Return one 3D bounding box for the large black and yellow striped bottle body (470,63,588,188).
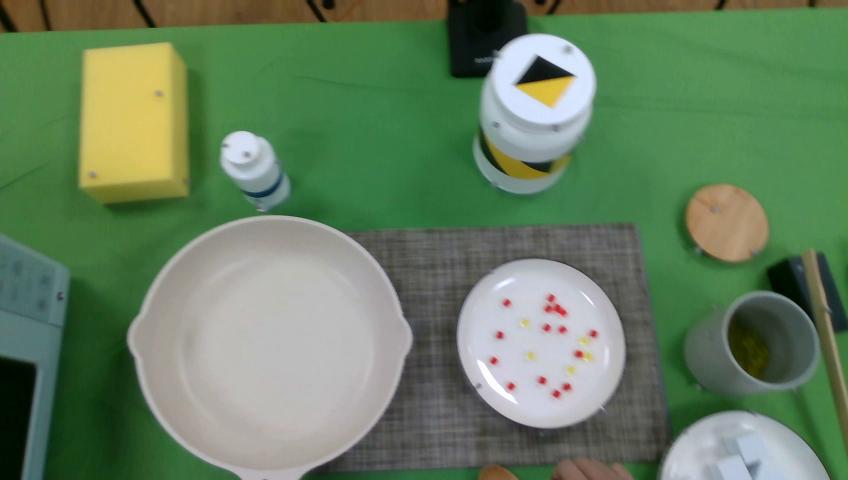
[{"bbox_3d":[0.129,-0.158,0.763,0.131,0.185,0.130,0,73,-1],"label":"large black and yellow striped bottle body"}]

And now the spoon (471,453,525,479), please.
[{"bbox_3d":[0.146,0.301,0.709,0.193,0.022,0.041,21,62,5],"label":"spoon"}]

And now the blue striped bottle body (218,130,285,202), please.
[{"bbox_3d":[-0.220,-0.097,0.772,0.063,0.121,0.062,0,73,0],"label":"blue striped bottle body"}]

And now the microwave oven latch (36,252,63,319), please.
[{"bbox_3d":[-0.468,0.056,0.746,0.030,0.029,0.078,1,74,-1],"label":"microwave oven latch"}]

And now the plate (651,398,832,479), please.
[{"bbox_3d":[0.366,0.291,0.708,0.208,0.039,0.206,0,73,0],"label":"plate"}]

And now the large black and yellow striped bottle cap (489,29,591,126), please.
[{"bbox_3d":[0.131,-0.184,0.683,0.115,0.019,0.114,0,75,0],"label":"large black and yellow striped bottle cap"}]

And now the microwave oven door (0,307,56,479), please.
[{"bbox_3d":[-0.463,0.236,0.586,0.039,0.245,0.353,-2,73,-1],"label":"microwave oven door"}]

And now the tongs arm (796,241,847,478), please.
[{"bbox_3d":[0.502,0.187,0.712,0.051,0.026,0.383,-7,84,-5],"label":"tongs arm"}]

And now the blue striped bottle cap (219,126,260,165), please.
[{"bbox_3d":[-0.221,-0.114,0.723,0.044,0.021,0.044,0,75,-1],"label":"blue striped bottle cap"}]

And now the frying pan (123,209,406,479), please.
[{"bbox_3d":[-0.171,0.203,0.661,0.308,0.103,0.483,3,63,-12],"label":"frying pan"}]

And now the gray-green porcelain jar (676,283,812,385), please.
[{"bbox_3d":[0.367,0.116,0.714,0.106,0.127,0.105,0,73,0],"label":"gray-green porcelain jar"}]

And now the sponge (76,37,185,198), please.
[{"bbox_3d":[-0.395,-0.166,0.820,0.118,0.061,0.205,-7,74,-3],"label":"sponge"}]

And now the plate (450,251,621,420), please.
[{"bbox_3d":[0.136,0.116,0.753,0.209,0.038,0.208,0,73,0],"label":"plate"}]

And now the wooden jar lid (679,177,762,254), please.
[{"bbox_3d":[0.396,-0.032,0.815,0.108,0.021,0.108,0,75,0],"label":"wooden jar lid"}]

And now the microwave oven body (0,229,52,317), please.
[{"bbox_3d":[-0.609,0.200,0.600,0.326,0.261,0.439,-2,74,-2],"label":"microwave oven body"}]
